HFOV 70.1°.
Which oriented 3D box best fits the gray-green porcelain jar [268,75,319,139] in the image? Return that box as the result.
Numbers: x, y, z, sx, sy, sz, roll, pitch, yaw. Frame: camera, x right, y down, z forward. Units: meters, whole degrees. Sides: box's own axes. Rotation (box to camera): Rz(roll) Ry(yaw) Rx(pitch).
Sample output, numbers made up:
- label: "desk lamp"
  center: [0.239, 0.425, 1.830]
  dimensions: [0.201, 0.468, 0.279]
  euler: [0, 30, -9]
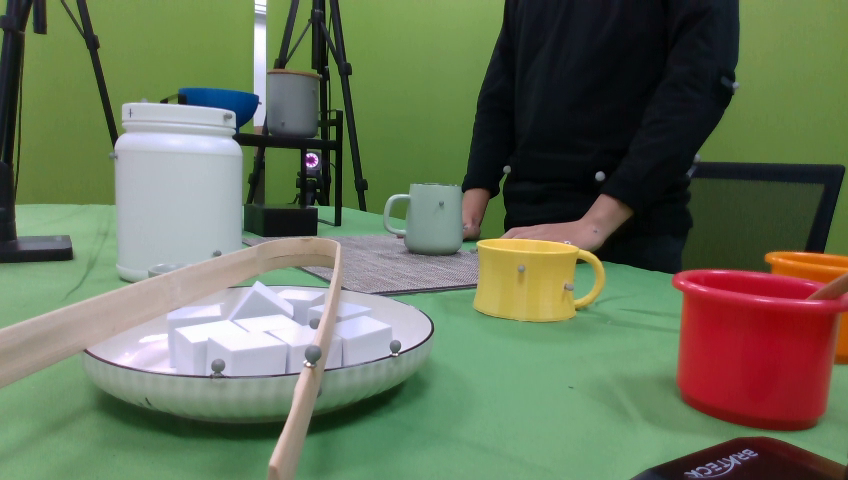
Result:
- label: "gray-green porcelain jar"
  center: [-0.277, -0.279, 1.280]
  dimensions: [0.106, 0.126, 0.106]
  euler: [2, 8, 0]

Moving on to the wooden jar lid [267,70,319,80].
- label: "wooden jar lid"
  center: [-0.275, -0.339, 1.271]
  dimensions: [0.108, 0.020, 0.108]
  euler: [5, 6, 0]

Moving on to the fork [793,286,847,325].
- label: "fork"
  center: [0.332, 0.019, 0.443]
  dimensions: [0.028, 0.018, 0.207]
  euler: [-3, -35, -16]

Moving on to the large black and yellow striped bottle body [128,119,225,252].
- label: "large black and yellow striped bottle body"
  center: [-0.361, -0.081, 0.887]
  dimensions: [0.131, 0.184, 0.130]
  euler: [2, 8, 0]

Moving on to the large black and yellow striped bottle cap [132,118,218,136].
- label: "large black and yellow striped bottle cap"
  center: [-0.359, -0.164, 0.875]
  dimensions: [0.115, 0.019, 0.115]
  euler: [2, 6, 0]

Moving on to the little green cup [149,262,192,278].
- label: "little green cup"
  center: [-0.207, 0.043, 0.531]
  dimensions: [0.061, 0.038, 0.061]
  euler: [3, 6, 0]

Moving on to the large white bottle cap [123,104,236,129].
- label: "large white bottle cap"
  center: [-0.266, -0.134, 0.663]
  dimensions: [0.115, 0.018, 0.115]
  euler: [3, 7, 0]

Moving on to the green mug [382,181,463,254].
- label: "green mug"
  center: [-0.001, -0.036, 0.922]
  dimensions: [0.126, 0.105, 0.092]
  euler: [0, 8, -16]

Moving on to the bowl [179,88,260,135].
- label: "bowl"
  center: [-0.400, -0.248, 1.188]
  dimensions: [0.151, 0.077, 0.151]
  euler: [2, 6, 0]

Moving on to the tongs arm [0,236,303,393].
- label: "tongs arm"
  center: [-0.158, 0.038, 0.351]
  dimensions: [0.028, 0.028, 0.388]
  euler: [-3, 8, 12]

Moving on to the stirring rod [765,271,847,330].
- label: "stirring rod"
  center: [0.352, 0.020, 0.481]
  dimensions: [0.176, 0.006, 0.014]
  euler: [-40, -8, 17]

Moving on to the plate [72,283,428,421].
- label: "plate"
  center: [-0.102, 0.067, 0.381]
  dimensions: [0.208, 0.039, 0.207]
  euler: [2, 7, 0]

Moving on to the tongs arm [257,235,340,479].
- label: "tongs arm"
  center: [-0.074, 0.039, 0.349]
  dimensions: [0.051, 0.026, 0.384]
  euler: [-2, 9, -3]

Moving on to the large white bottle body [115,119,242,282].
- label: "large white bottle body"
  center: [-0.270, -0.051, 0.674]
  dimensions: [0.131, 0.184, 0.130]
  euler: [2, 8, 0]

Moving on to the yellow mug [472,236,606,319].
- label: "yellow mug"
  center: [0.114, 0.034, 0.590]
  dimensions: [0.131, 0.064, 0.100]
  euler: [2, 6, -7]

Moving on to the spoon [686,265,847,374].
- label: "spoon"
  center: [0.214, 0.032, 0.327]
  dimensions: [0.042, 0.021, 0.193]
  euler: [-2, -35, -26]
